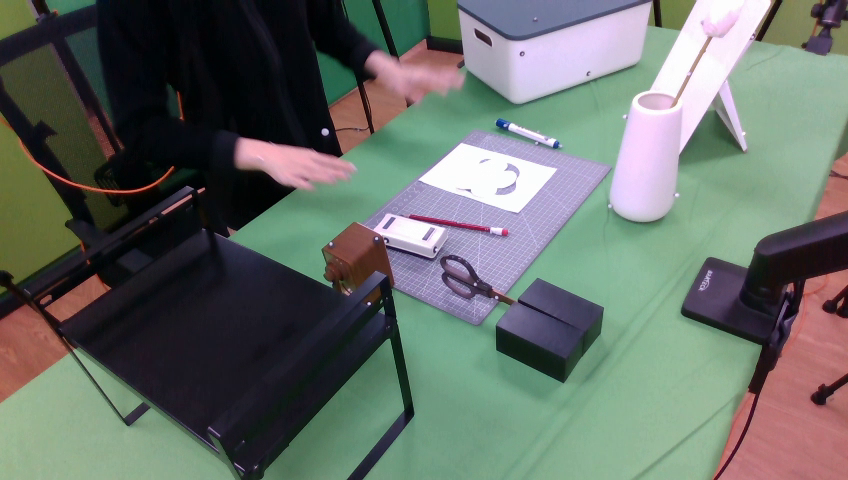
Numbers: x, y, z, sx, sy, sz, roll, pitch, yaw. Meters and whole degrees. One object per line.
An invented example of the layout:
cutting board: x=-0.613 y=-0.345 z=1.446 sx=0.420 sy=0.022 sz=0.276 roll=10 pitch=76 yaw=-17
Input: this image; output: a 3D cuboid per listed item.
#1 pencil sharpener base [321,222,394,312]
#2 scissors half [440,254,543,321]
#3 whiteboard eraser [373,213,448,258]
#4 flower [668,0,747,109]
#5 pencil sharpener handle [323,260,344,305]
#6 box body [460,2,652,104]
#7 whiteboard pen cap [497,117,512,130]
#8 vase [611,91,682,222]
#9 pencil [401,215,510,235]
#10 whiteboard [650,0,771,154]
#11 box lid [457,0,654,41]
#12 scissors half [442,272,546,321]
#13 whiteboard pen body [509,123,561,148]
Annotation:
pencil sharpener base: x=-0.096 y=0.041 z=0.873 sx=0.061 sy=0.107 sz=0.077 roll=25 pitch=54 yaw=32
scissors half: x=0.092 y=0.065 z=0.825 sx=0.174 sy=0.040 sz=0.013 roll=32 pitch=58 yaw=25
whiteboard eraser: x=-0.022 y=-0.005 z=0.965 sx=0.112 sy=0.042 sz=0.055 roll=15 pitch=44 yaw=24
flower: x=0.354 y=-0.187 z=0.879 sx=0.038 sy=0.362 sz=0.044 roll=30 pitch=48 yaw=14
pencil sharpener handle: x=-0.131 y=0.061 z=0.839 sx=0.035 sy=0.068 sz=0.031 roll=29 pitch=56 yaw=28
box body: x=0.291 y=-0.465 z=1.371 sx=0.365 sy=0.161 sz=0.252 roll=-22 pitch=42 yaw=-16
whiteboard pen cap: x=0.165 y=-0.235 z=1.227 sx=0.033 sy=0.018 sz=0.018 roll=31 pitch=53 yaw=30
vase: x=0.348 y=-0.125 z=0.935 sx=0.098 sy=0.201 sz=0.097 roll=-3 pitch=40 yaw=3
pencil: x=0.049 y=-0.027 z=1.007 sx=0.193 sy=0.012 sz=0.012 roll=10 pitch=43 yaw=21
whiteboard: x=0.543 y=-0.298 z=1.076 sx=0.144 sy=0.305 sz=0.216 roll=12 pitch=40 yaw=-7
box lid: x=0.285 y=-0.522 z=1.323 sx=0.373 sy=0.015 sz=0.261 roll=-22 pitch=43 yaw=-16
scissors half: x=0.094 y=0.080 z=0.838 sx=0.173 sy=0.040 sz=0.013 roll=19 pitch=46 yaw=39
whiteboard pen body: x=0.208 y=-0.211 z=1.195 sx=0.139 sy=0.017 sz=0.017 roll=30 pitch=52 yaw=33
